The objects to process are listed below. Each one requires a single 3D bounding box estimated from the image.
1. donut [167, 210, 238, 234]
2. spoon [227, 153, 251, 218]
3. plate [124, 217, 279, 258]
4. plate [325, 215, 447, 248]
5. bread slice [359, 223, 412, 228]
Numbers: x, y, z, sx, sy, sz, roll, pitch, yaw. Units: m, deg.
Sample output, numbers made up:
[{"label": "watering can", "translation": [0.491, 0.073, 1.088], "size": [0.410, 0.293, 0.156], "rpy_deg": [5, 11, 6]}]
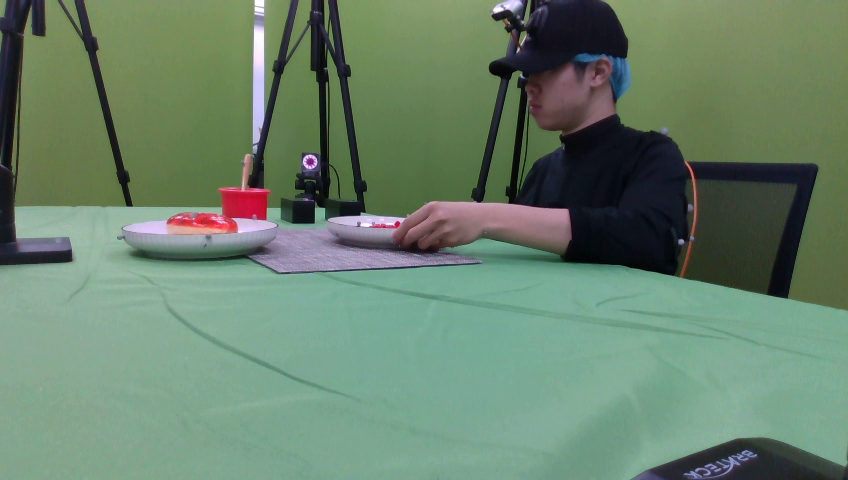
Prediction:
[{"label": "donut", "translation": [-0.321, -0.017, 0.882], "size": [0.099, 0.048, 0.099], "rpy_deg": [3, 6, 0]}, {"label": "spoon", "translation": [-0.363, -0.107, 1.211], "size": [0.042, 0.021, 0.193], "rpy_deg": [-1, 47, -7]}, {"label": "plate", "translation": [-0.315, -0.004, 0.871], "size": [0.208, 0.039, 0.207], "rpy_deg": [1, 8, 0]}, {"label": "plate", "translation": [-0.065, -0.015, 1.035], "size": [0.209, 0.038, 0.209], "rpy_deg": [3, 8, 0]}, {"label": "bread slice", "translation": [-0.062, -0.013, 1.034], "size": [0.105, 0.019, 0.131], "rpy_deg": [0, 9, -19]}]
